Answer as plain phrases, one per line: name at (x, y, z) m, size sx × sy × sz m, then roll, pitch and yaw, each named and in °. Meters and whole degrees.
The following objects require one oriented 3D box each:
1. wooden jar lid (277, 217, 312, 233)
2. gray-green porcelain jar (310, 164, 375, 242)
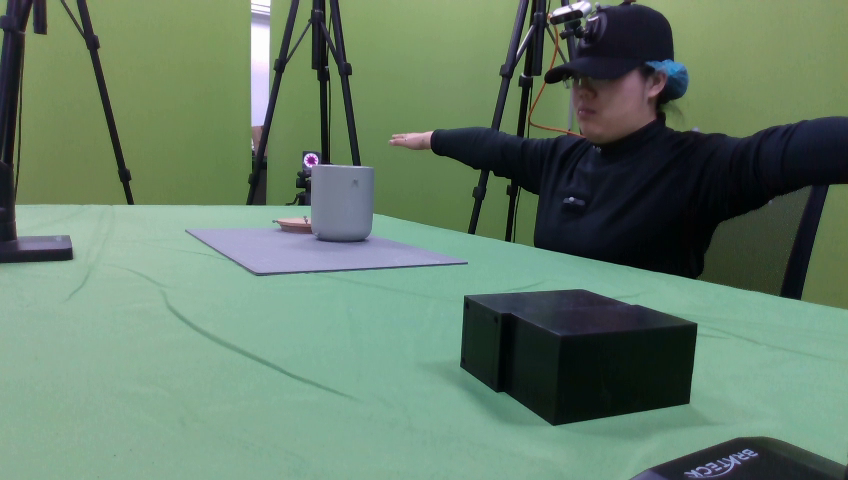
wooden jar lid at (-0.221, -0.028, 1.138) m, size 0.108 × 0.020 × 0.108 m, roll 2°, pitch 9°, yaw 0°
gray-green porcelain jar at (-0.139, -0.064, 1.025) m, size 0.106 × 0.126 × 0.106 m, roll 3°, pitch 8°, yaw 0°
